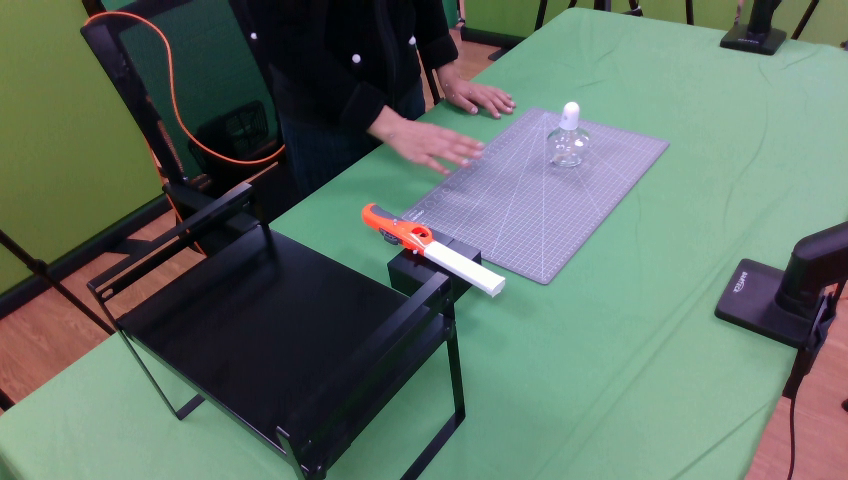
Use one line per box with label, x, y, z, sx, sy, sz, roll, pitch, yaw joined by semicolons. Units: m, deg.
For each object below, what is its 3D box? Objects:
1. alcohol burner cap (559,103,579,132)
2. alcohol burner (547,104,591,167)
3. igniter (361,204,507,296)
alcohol burner cap;0.256;-0.218;1.063;0.034;0.048;0.033;0;43;0
alcohol burner;0.261;-0.192;1.087;0.078;0.119;0.077;-5;42;5
igniter;0.003;0.008;0.889;0.274;0.025;0.057;29;49;33
